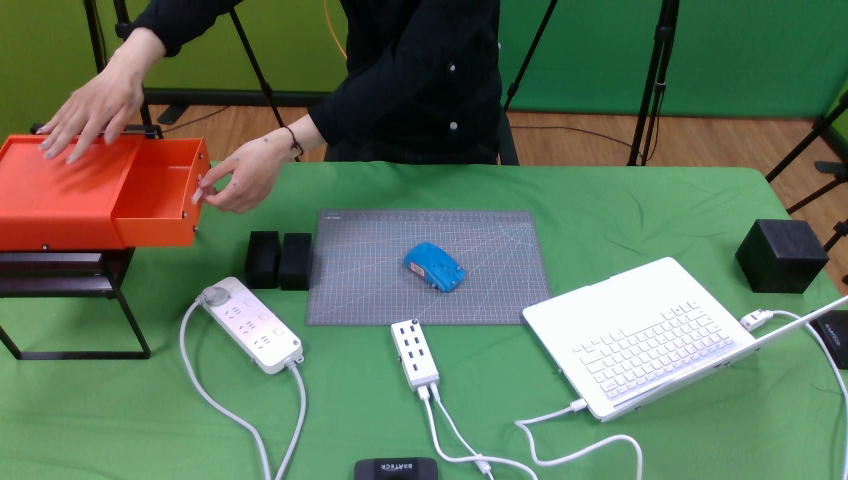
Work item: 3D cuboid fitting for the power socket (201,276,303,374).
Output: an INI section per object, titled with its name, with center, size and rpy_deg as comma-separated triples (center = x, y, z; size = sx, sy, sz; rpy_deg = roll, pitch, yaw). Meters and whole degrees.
[power socket]
center = -0.297, 0.141, 1.034
size = 0.225, 0.033, 0.072
rpy_deg = 38, 55, 27

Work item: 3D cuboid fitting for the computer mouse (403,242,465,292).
[computer mouse]
center = 0.020, 0.047, 1.141
size = 0.116, 0.041, 0.063
rpy_deg = 35, 52, 22

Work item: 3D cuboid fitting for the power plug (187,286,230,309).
[power plug]
center = -0.370, 0.103, 1.039
size = 0.072, 0.053, 0.035
rpy_deg = -25, 53, -23

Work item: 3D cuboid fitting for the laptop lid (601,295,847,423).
[laptop lid]
center = 0.449, 0.180, 0.905
size = 0.357, 0.242, 0.013
rpy_deg = -17, 64, -20

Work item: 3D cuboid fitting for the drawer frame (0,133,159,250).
[drawer frame]
center = -0.552, -0.078, 0.941
size = 0.214, 0.083, 0.200
rpy_deg = -2, 47, -5

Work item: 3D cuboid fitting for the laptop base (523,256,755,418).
[laptop base]
center = 0.380, 0.159, 1.077
size = 0.355, 0.023, 0.234
rpy_deg = -17, 48, -19

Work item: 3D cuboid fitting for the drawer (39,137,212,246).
[drawer]
center = -0.457, -0.080, 0.952
size = 0.212, 0.073, 0.193
rpy_deg = -1, 47, -5

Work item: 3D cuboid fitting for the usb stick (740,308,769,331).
[usb stick]
center = 0.587, 0.146, 1.088
size = 0.059, 0.027, 0.021
rpy_deg = -21, 48, -17

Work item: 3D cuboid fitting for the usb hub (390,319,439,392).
[usb hub]
center = -0.016, 0.190, 1.013
size = 0.049, 0.025, 0.124
rpy_deg = -11, 48, -15
